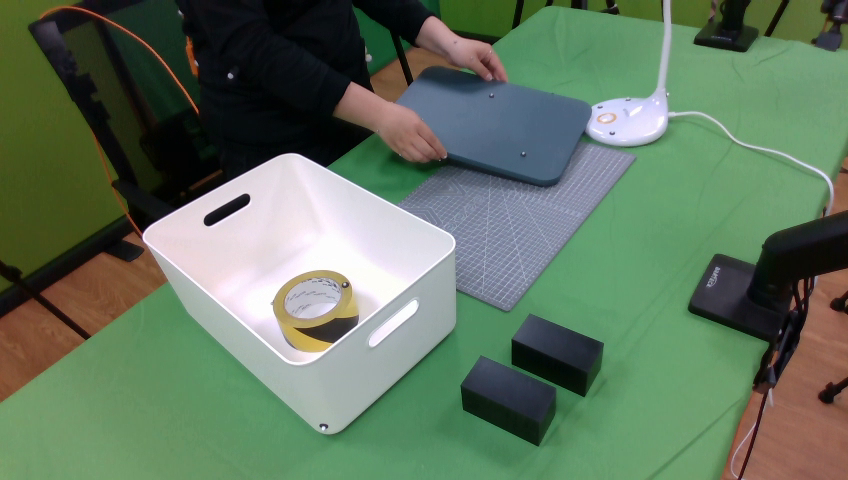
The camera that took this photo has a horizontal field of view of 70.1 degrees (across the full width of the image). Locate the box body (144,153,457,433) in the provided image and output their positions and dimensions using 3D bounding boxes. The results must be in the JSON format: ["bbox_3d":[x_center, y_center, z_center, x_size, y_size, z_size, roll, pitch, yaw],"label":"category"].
[{"bbox_3d":[-0.158,0.054,0.819,0.361,0.161,0.255,29,52,34],"label":"box body"}]

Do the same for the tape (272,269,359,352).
[{"bbox_3d":[-0.149,0.097,0.843,0.117,0.053,0.116,-4,41,4],"label":"tape"}]

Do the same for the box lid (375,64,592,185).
[{"bbox_3d":[0.120,-0.234,1.168,0.370,0.015,0.263,19,51,16],"label":"box lid"}]

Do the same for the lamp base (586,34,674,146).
[{"bbox_3d":[0.392,-0.291,1.129,0.180,0.181,0.159,-11,41,-8],"label":"lamp base"}]
